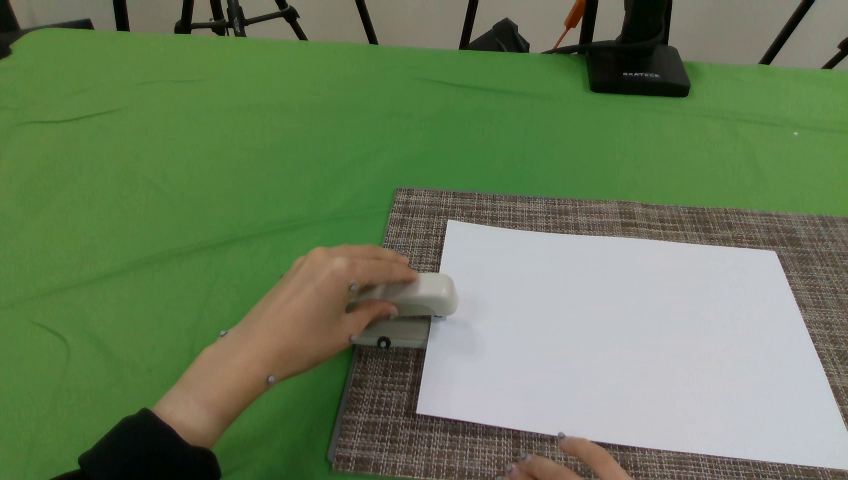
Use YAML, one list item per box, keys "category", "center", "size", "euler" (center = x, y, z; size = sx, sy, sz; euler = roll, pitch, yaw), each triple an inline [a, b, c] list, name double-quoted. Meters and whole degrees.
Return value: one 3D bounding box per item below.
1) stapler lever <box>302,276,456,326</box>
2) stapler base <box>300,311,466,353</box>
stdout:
- category: "stapler lever"
  center: [-0.035, 0.046, 0.462]
  size: [0.118, 0.040, 0.026]
  euler: [3, 41, 4]
- category: "stapler base"
  center: [-0.032, 0.063, 0.478]
  size: [0.130, 0.024, 0.041]
  euler: [2, 41, 5]
